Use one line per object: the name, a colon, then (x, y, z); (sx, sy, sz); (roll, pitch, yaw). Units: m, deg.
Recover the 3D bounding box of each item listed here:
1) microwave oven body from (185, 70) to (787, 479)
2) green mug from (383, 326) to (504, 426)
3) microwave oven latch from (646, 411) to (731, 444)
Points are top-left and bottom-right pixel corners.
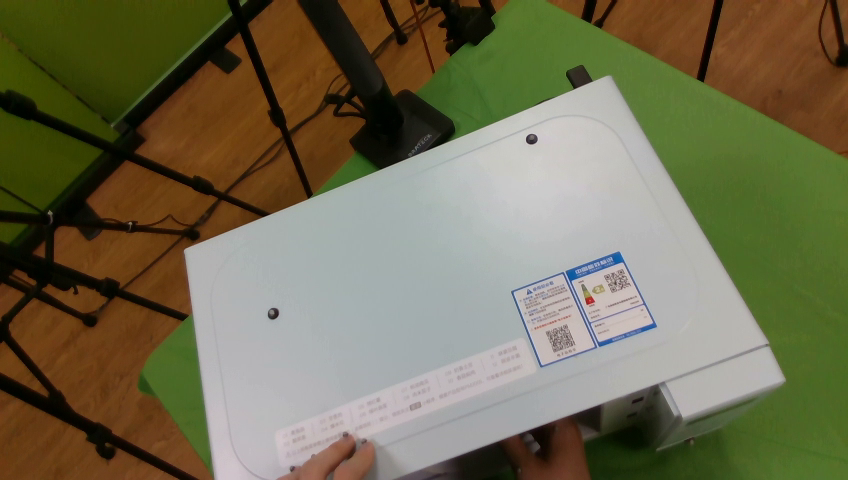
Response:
microwave oven body: (0.039, 0.088, 0.617); (0.441, 0.262, 0.323); (-22, 63, 5)
green mug: (0.025, 0.147, 0.616); (0.124, 0.106, 0.092); (27, 77, 25)
microwave oven latch: (0.270, 0.184, 0.621); (0.079, 0.030, 0.030); (-21, 63, 6)
